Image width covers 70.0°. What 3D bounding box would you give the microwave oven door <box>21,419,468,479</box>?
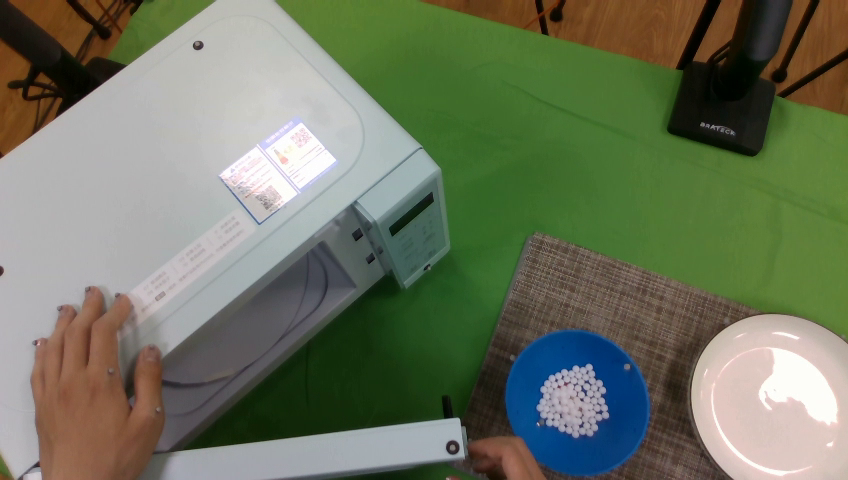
[{"bbox_3d":[-0.137,0.208,0.584,0.356,0.245,0.039,-8,71,2],"label":"microwave oven door"}]

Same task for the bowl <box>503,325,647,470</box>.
[{"bbox_3d":[0.162,0.175,0.674,0.151,0.077,0.150,-1,72,4],"label":"bowl"}]

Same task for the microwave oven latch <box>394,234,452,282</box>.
[{"bbox_3d":[-0.002,0.015,0.746,0.079,0.030,0.030,-39,73,-8],"label":"microwave oven latch"}]

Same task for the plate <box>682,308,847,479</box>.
[{"bbox_3d":[0.392,0.181,0.676,0.207,0.039,0.206,-1,72,4],"label":"plate"}]

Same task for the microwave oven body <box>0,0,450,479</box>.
[{"bbox_3d":[-0.240,-0.004,0.668,0.441,0.262,0.324,-41,74,-8],"label":"microwave oven body"}]
